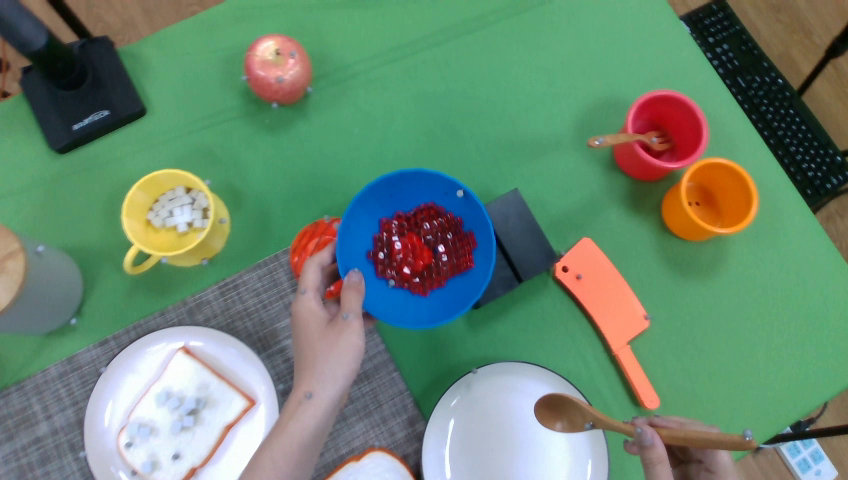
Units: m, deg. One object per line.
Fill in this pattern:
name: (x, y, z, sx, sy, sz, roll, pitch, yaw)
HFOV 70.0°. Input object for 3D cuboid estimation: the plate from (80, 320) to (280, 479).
plate: (-0.260, 0.193, 0.660, 0.208, 0.039, 0.206, 1, 78, -3)

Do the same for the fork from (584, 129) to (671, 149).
fork: (0.239, -0.118, 0.702, 0.208, 0.018, 0.028, -11, 75, -48)

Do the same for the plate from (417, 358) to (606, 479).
plate: (0.095, 0.237, 0.674, 0.209, 0.038, 0.208, 1, 78, -2)

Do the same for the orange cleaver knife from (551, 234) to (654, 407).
orange cleaver knife: (0.226, 0.092, 0.722, 0.077, 0.012, 0.210, -26, 79, -15)

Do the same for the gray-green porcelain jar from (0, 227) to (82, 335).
gray-green porcelain jar: (-0.439, 0.046, 0.640, 0.106, 0.127, 0.105, 1, 77, -3)

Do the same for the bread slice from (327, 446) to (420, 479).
bread slice: (-0.062, 0.284, 0.629, 0.134, 0.018, 0.106, -32, 78, -29)

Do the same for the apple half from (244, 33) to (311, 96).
apple half: (-0.171, -0.217, 0.738, 0.080, 0.075, 0.053, 27, 72, 7)

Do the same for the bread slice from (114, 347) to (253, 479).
bread slice: (-0.267, 0.199, 0.660, 0.104, 0.019, 0.131, 35, 77, 5)

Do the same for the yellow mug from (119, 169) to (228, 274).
yellow mug: (-0.294, -0.013, 0.692, 0.100, 0.064, 0.130, 37, 79, 5)

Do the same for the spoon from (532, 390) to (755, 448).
spoon: (0.166, 0.149, 0.491, 0.021, 0.192, 0.042, -28, 103, -35)

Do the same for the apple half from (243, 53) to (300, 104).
apple half: (-0.188, -0.184, 0.728, 0.081, 0.081, 0.032, 27, 73, 3)

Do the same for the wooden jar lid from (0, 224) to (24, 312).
wooden jar lid: (-0.436, 0.031, 0.580, 0.108, 0.021, 0.108, 0, 77, -1)

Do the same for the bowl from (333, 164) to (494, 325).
bowl: (-0.010, 0.008, 0.597, 0.151, 0.077, 0.151, 0, 84, -1)

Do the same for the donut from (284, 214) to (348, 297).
donut: (-0.111, 0.018, 0.702, 0.099, 0.048, 0.098, 1, 79, -3)
